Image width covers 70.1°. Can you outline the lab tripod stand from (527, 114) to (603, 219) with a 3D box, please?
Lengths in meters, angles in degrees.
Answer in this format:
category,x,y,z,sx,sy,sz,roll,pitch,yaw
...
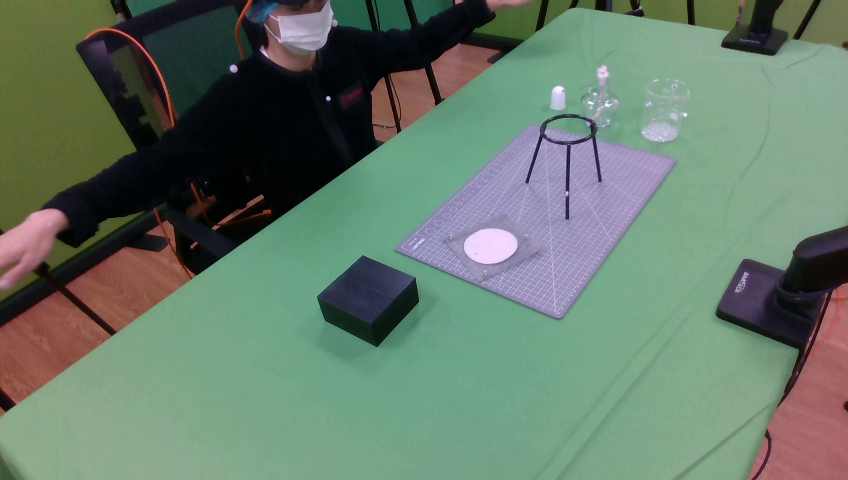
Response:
category,x,y,z,sx,sy,sz,roll,pitch,yaw
lab tripod stand,0.234,-0.129,1.002,0.148,0.132,0.147,-6,40,6

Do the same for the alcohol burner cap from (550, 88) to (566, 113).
category,x,y,z,sx,sy,sz,roll,pitch,yaw
alcohol burner cap,0.282,-0.296,1.270,0.034,0.048,0.033,-4,41,4

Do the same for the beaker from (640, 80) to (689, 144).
category,x,y,z,sx,sy,sz,roll,pitch,yaw
beaker,0.446,-0.235,1.126,0.074,0.101,0.083,-34,47,-27

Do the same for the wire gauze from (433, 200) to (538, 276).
category,x,y,z,sx,sy,sz,roll,pitch,yaw
wire gauze,0.096,-0.004,0.949,0.120,0.011,0.125,29,58,34

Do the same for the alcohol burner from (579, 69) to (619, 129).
category,x,y,z,sx,sy,sz,roll,pitch,yaw
alcohol burner,0.345,-0.280,1.184,0.078,0.119,0.077,-4,42,4
